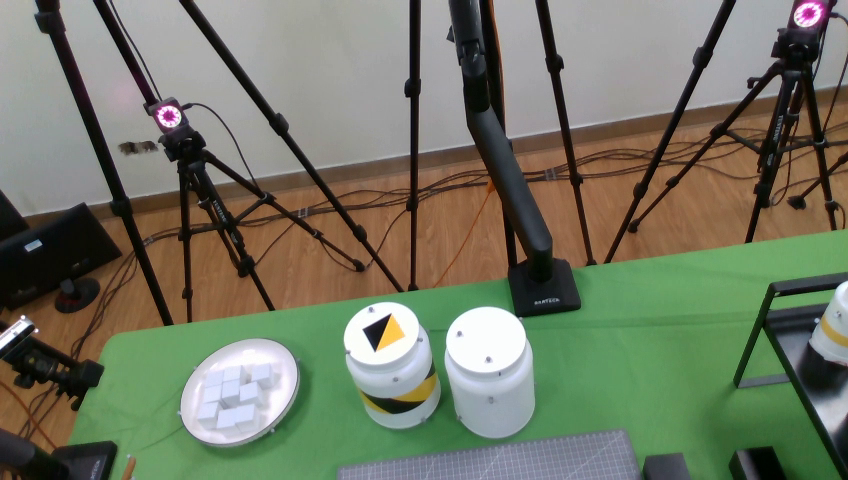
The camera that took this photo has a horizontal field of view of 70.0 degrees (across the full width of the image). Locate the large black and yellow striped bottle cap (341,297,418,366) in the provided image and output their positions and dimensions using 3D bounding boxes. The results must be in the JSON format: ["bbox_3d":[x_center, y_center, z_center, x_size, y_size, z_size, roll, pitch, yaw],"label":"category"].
[{"bbox_3d":[-0.066,0.133,0.901,0.115,0.019,0.114,-5,47,6],"label":"large black and yellow striped bottle cap"}]

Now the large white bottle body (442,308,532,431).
[{"bbox_3d":[0.098,0.194,0.926,0.130,0.186,0.129,-6,46,6],"label":"large white bottle body"}]

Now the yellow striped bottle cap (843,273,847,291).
[{"bbox_3d":[0.511,0.048,0.697,0.044,0.019,0.044,-5,46,5],"label":"yellow striped bottle cap"}]

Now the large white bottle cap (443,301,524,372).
[{"bbox_3d":[0.085,0.136,0.865,0.115,0.018,0.113,-5,46,6],"label":"large white bottle cap"}]

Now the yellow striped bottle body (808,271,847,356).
[{"bbox_3d":[0.519,0.083,0.735,0.063,0.121,0.062,-6,46,6],"label":"yellow striped bottle body"}]

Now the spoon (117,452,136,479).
[{"bbox_3d":[-0.454,0.394,0.879,0.041,0.022,0.194,28,102,36],"label":"spoon"}]

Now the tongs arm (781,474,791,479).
[{"bbox_3d":[0.432,0.463,0.678,0.028,0.028,0.384,6,58,8],"label":"tongs arm"}]

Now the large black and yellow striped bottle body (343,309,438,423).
[{"bbox_3d":[-0.053,0.192,0.960,0.130,0.186,0.129,-6,46,6],"label":"large black and yellow striped bottle body"}]

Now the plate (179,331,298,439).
[{"bbox_3d":[-0.318,0.254,1.059,0.207,0.039,0.205,-6,47,6],"label":"plate"}]
